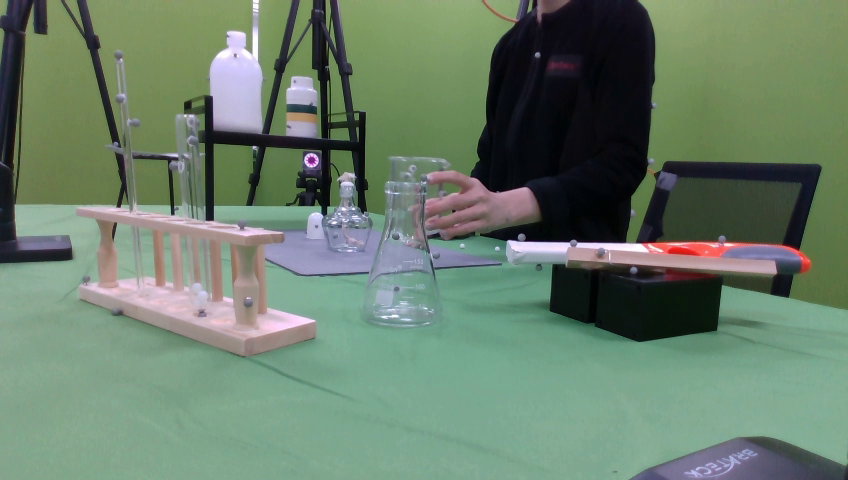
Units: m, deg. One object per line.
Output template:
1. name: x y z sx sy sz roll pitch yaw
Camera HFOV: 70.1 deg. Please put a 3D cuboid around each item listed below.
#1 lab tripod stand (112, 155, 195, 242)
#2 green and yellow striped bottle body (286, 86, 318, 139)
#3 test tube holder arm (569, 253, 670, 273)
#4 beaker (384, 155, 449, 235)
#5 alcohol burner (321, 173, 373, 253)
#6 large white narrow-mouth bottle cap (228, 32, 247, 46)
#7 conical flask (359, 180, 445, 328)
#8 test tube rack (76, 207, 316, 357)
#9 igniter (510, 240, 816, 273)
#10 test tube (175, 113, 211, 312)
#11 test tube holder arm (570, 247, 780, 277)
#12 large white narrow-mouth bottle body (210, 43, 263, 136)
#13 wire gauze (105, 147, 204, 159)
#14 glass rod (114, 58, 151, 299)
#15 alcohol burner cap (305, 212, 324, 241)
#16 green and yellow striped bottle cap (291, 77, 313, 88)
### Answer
1. lab tripod stand: -0.405 -0.064 0.931 0.148 0.131 0.148 1 6 0
2. green and yellow striped bottle body: -0.251 -0.270 1.245 0.063 0.119 0.063 2 7 0
3. test tube holder arm: 0.172 0.019 0.532 0.088 0.015 0.010 3 -23 3
4. beaker: -0.010 -0.059 0.785 0.084 0.100 0.074 1 8 -2
5. alcohol burner: -0.115 -0.041 0.905 0.078 0.119 0.078 0 6 0
6. large white narrow-mouth bottle cap: -0.364 -0.391 1.180 0.038 0.024 0.037 3 8 0
7. conical flask: -0.017 0.010 0.522 0.075 0.122 0.075 2 7 0
8. test tube rack: -0.196 0.023 0.500 0.241 0.085 0.067 8 9 36
9. igniter: 0.220 0.015 0.565 0.277 0.025 0.057 2 16 0
10. test tube: -0.174 -0.020 0.458 0.017 0.150 0.017 -3 5 1
11. test tube holder arm: 0.217 0.019 0.525 0.178 0.015 0.013 3 -23 3
12. large white narrow-mouth bottle body: -0.369 -0.305 1.194 0.102 0.194 0.102 3 8 0
13. wire gauze: -0.408 -0.131 0.928 0.125 0.011 0.121 2 6 -11
14. glass rod: -0.236 -0.044 0.492 0.008 0.199 0.008 1 15 0
15. alcohol burner cap: -0.185 -0.023 1.027 0.034 0.048 0.034 3 7 0
16. green and yellow striped bottle cap: -0.249 -0.321 1.237 0.045 0.020 0.045 3 5 0
